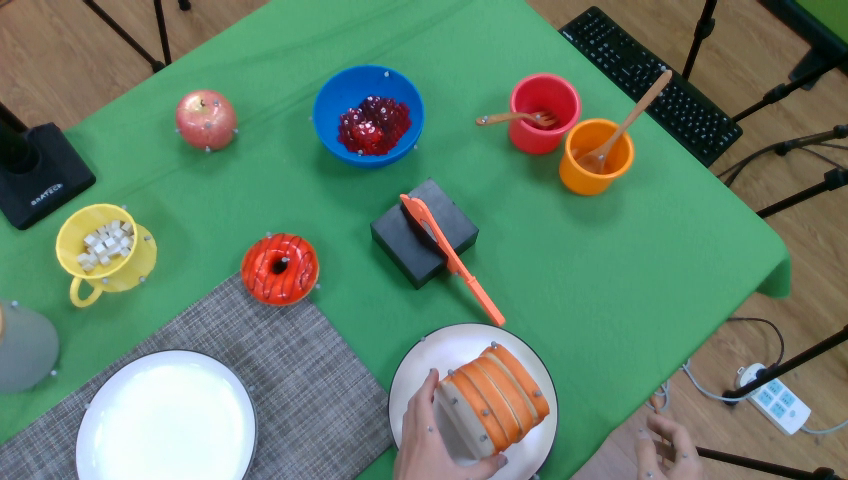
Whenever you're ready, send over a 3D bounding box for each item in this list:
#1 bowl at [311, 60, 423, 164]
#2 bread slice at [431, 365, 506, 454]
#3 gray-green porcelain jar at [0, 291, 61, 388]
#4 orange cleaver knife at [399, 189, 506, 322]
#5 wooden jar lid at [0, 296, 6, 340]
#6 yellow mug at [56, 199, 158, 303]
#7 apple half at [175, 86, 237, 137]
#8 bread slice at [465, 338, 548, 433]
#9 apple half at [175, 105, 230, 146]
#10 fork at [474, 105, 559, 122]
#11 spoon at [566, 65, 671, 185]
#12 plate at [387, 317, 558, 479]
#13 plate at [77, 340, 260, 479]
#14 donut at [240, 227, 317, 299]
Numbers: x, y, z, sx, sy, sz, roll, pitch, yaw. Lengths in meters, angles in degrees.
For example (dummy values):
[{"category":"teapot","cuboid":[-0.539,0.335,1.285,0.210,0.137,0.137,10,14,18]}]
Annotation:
[{"category":"bowl","cuboid":[-0.077,-0.164,0.843,0.151,0.077,0.150,1,71,-2]},{"category":"bread slice","cuboid":[0.048,0.193,0.689,0.019,0.132,0.104,-30,75,-19]},{"category":"gray-green porcelain jar","cuboid":[-0.502,0.116,0.706,0.106,0.127,0.105,1,71,-2]},{"category":"orange cleaver knife","cuboid":[0.035,0.020,0.782,0.012,0.077,0.212,-38,101,-14]},{"category":"wooden jar lid","cuboid":[-0.500,0.095,0.648,0.108,0.021,0.107,0,70,0]},{"category":"yellow mug","cuboid":[-0.410,0.019,0.775,0.100,0.064,0.130,18,72,4]},{"category":"apple half","cuboid":[-0.296,-0.182,0.843,0.080,0.075,0.053,15,65,7]},{"category":"bread slice","cuboid":[0.095,0.169,0.700,0.018,0.135,0.106,-32,76,-22]},{"category":"apple half","cuboid":[-0.306,-0.147,0.830,0.081,0.082,0.032,15,66,4]},{"category":"fork","cuboid":[0.127,-0.171,0.817,0.208,0.018,0.028,-16,66,-52]},{"category":"spoon","cuboid":[0.261,-0.151,0.815,0.041,0.194,0.022,45,31,14]},{"category":"plate","cuboid":[0.058,0.199,0.746,0.209,0.038,0.207,1,71,-2]},{"category":"plate","cuboid":[-0.297,0.225,0.720,0.208,0.039,0.206,1,71,-2]},{"category":"donut","cuboid":[-0.188,0.031,0.787,0.099,0.048,0.098,1,71,-3]}]
